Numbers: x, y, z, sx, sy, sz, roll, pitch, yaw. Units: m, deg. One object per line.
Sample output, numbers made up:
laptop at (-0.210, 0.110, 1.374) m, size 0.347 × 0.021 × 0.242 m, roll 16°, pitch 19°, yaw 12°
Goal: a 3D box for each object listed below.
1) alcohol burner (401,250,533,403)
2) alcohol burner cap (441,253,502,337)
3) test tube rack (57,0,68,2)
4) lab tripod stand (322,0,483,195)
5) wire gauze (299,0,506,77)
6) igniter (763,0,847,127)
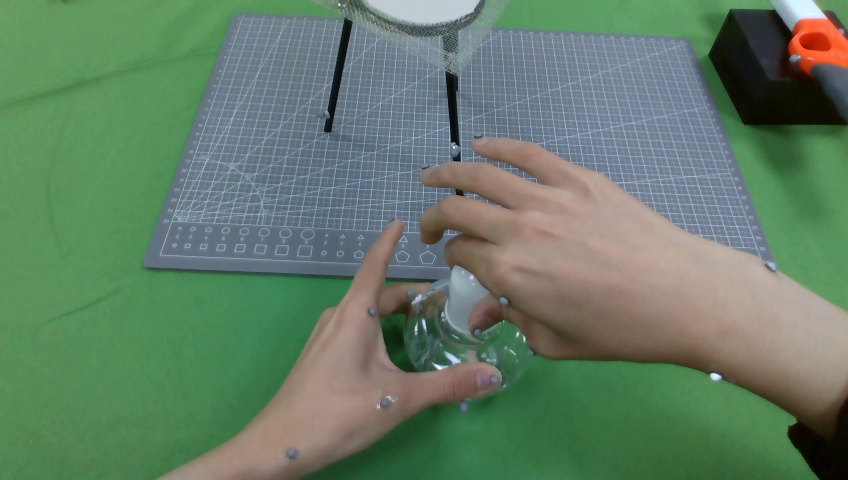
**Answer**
alcohol burner at (0.025, 0.046, 0.344) m, size 0.078 × 0.120 × 0.077 m, roll 0°, pitch 55°, yaw 0°
alcohol burner cap at (0.026, 0.026, 0.319) m, size 0.034 × 0.048 × 0.033 m, roll 0°, pitch 52°, yaw 0°
test tube rack at (-0.276, -0.332, 0.618) m, size 0.242 × 0.086 × 0.066 m, roll -29°, pitch 61°, yaw -22°
lab tripod stand at (-0.005, -0.124, 0.450) m, size 0.148 × 0.132 × 0.147 m, roll 3°, pitch 54°, yaw -4°
wire gauze at (-0.006, -0.165, 0.396) m, size 0.124 × 0.011 × 0.121 m, roll 26°, pitch 57°, yaw 13°
igniter at (0.332, -0.177, 0.521) m, size 0.057 × 0.025 × 0.273 m, roll -2°, pitch 52°, yaw -1°
